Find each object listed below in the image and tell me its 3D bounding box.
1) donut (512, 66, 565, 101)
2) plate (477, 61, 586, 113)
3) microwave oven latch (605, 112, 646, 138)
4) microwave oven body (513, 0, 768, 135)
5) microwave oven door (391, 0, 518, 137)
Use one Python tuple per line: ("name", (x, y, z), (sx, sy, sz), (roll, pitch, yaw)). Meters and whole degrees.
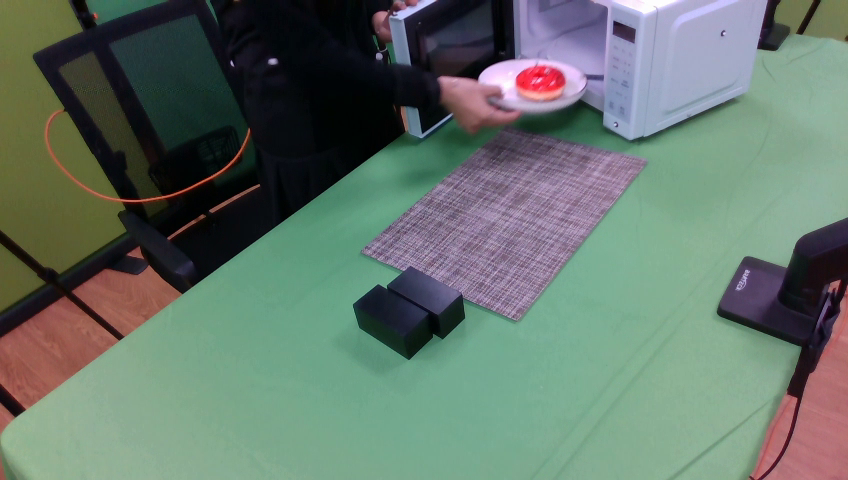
("donut", (0.219, -0.297, 1.153), (0.099, 0.048, 0.098), (-2, 40, 2))
("plate", (0.204, -0.291, 1.161), (0.209, 0.038, 0.208), (1, 36, 0))
("microwave oven latch", (0.375, -0.217, 1.130), (0.030, 0.029, 0.078), (-25, 42, -16))
("microwave oven body", (0.410, -0.441, 1.235), (0.327, 0.261, 0.437), (-25, 42, -16))
("microwave oven door", (0.077, -0.403, 1.247), (0.039, 0.245, 0.357), (23, 50, 33))
